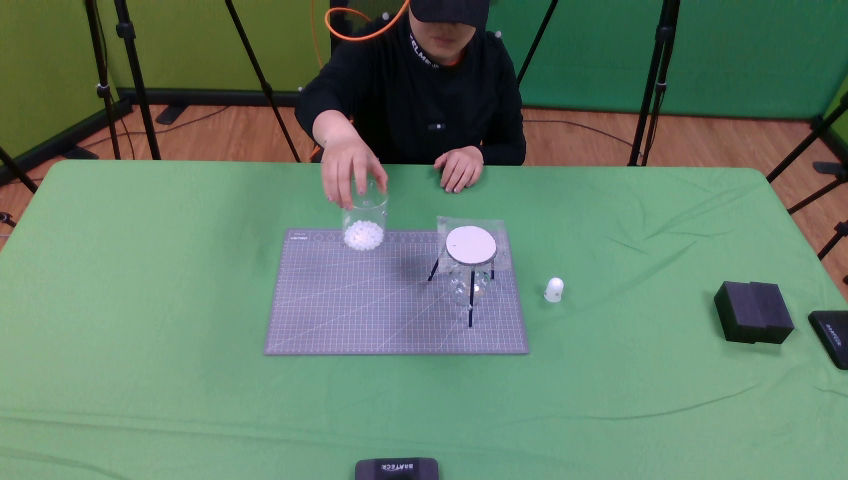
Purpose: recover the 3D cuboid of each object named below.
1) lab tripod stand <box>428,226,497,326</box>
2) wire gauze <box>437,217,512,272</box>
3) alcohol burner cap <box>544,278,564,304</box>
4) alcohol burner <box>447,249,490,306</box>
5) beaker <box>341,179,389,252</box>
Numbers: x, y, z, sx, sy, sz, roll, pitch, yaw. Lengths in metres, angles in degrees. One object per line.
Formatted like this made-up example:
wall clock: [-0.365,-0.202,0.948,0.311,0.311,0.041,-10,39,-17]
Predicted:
lab tripod stand: [0.079,0.056,1.070,0.148,0.132,0.147,3,47,-3]
wire gauze: [0.083,0.006,1.025,0.121,0.011,0.124,2,47,-4]
alcohol burner cap: [0.241,0.090,1.117,0.034,0.048,0.033,2,45,-2]
alcohol burner: [0.080,0.062,1.078,0.078,0.120,0.077,1,45,-1]
beaker: [-0.095,-0.039,0.974,0.074,0.101,0.083,12,43,5]
